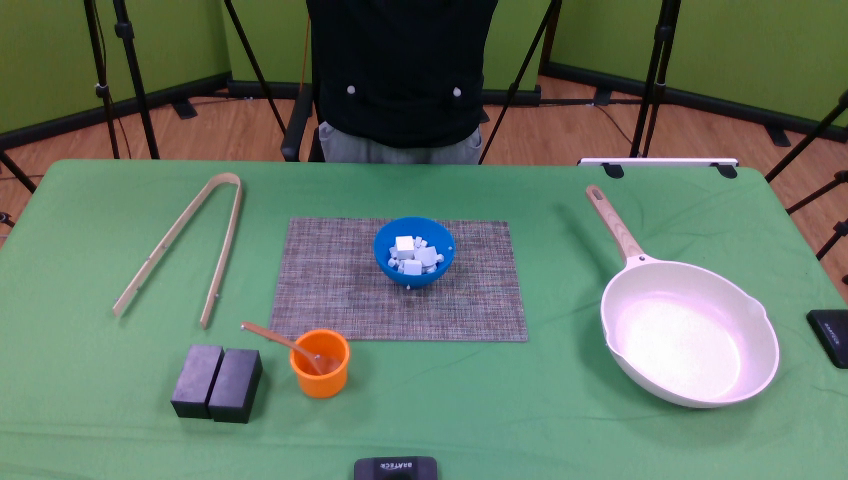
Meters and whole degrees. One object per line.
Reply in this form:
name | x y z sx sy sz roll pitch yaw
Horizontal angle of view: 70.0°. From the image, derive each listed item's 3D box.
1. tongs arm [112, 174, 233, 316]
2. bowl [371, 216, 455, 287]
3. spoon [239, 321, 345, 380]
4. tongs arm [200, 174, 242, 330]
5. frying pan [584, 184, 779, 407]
tongs arm | -0.466 -0.005 1.157 0.051 0.026 0.383 11 45 4
bowl | -0.022 0.034 1.119 0.151 0.077 0.150 2 46 -2
spoon | -0.200 0.168 0.934 0.021 0.195 0.041 -33 36 25
tongs arm | -0.386 0.008 1.158 0.028 0.028 0.385 -1 46 -3
frying pan | 0.412 0.079 1.097 0.307 0.103 0.484 -10 56 -15
